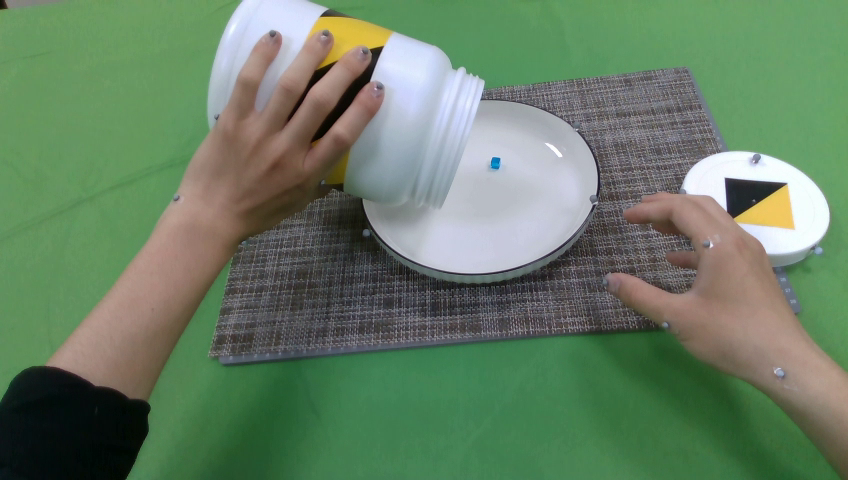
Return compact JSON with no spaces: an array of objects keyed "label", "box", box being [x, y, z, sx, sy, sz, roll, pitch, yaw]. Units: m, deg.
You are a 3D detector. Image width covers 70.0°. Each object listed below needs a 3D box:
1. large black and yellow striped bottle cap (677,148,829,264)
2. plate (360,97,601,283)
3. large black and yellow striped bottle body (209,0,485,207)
[{"label":"large black and yellow striped bottle cap","box":[0.272,-0.031,0.503,0.115,0.019,0.114,-2,54,3]},{"label":"plate","box":[0.049,-0.045,0.535,0.207,0.039,0.205,-4,52,6]},{"label":"large black and yellow striped bottle body","box":[-0.055,-0.106,0.475,0.184,0.131,0.130,19,56,-3]}]
